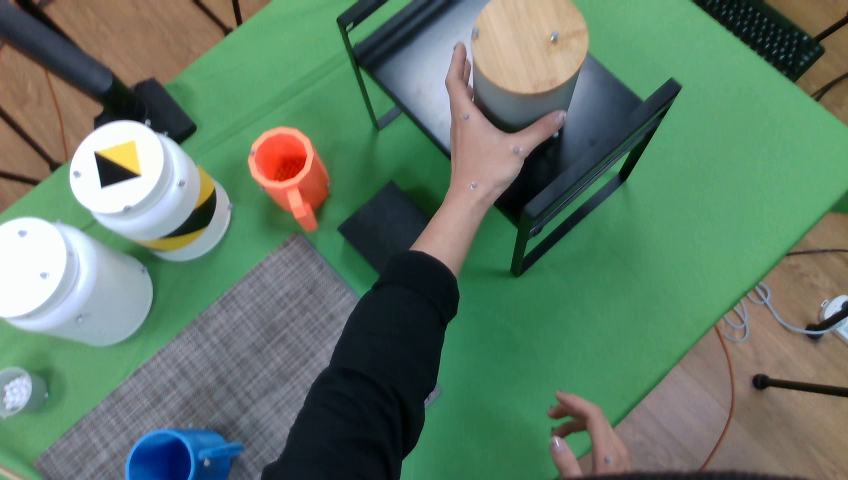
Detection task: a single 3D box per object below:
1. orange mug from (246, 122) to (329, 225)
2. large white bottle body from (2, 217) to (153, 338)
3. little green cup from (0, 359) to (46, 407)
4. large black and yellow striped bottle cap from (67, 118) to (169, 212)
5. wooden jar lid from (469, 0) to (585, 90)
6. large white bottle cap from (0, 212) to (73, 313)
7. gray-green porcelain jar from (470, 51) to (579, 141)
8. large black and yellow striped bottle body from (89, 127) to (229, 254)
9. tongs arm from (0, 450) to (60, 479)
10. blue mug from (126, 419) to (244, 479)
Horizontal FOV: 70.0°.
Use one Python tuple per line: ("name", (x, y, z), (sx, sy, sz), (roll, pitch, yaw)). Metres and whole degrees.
("orange mug", (-0.179, -0.086, 0.827), (0.083, 0.101, 0.125), (-20, 69, -1))
("large white bottle body", (-0.448, 0.048, 0.764), (0.130, 0.185, 0.130), (-1, 74, 4))
("little green cup", (-0.540, 0.191, 0.807), (0.061, 0.039, 0.061), (-1, 75, 3))
("large black and yellow striped bottle cap", (-0.358, -0.090, 0.709), (0.115, 0.019, 0.114), (-1, 74, 3))
("wooden jar lid", (0.096, -0.188, 0.569), (0.108, 0.021, 0.108), (-1, 77, 4))
("large white bottle cap", (-0.455, 0.024, 0.683), (0.115, 0.018, 0.114), (-1, 75, 4))
("gray-green porcelain jar", (0.101, -0.170, 0.629), (0.106, 0.127, 0.105), (-1, 74, 5))
("large black and yellow striped bottle body", (-0.350, -0.065, 0.789), (0.131, 0.185, 0.130), (-1, 74, 4))
("tongs arm", (-0.591, 0.264, 0.775), (0.387, 0.028, 0.028), (23, 68, 3))
("blue mug", (-0.277, 0.254, 0.732), (0.116, 0.106, 0.082), (-17, 73, -1))
